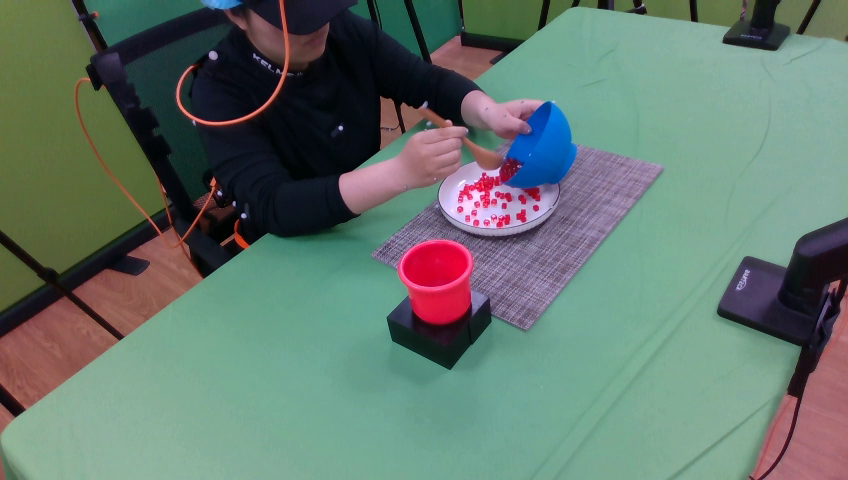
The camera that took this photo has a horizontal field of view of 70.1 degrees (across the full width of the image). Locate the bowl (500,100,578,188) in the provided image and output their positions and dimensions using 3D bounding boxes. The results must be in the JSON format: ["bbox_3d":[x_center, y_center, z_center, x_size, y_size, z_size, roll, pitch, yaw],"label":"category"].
[{"bbox_3d":[0.195,-0.140,0.978,0.077,0.151,0.151,28,43,-10],"label":"bowl"}]

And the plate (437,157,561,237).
[{"bbox_3d":[0.127,-0.069,1.023,0.207,0.039,0.206,-5,40,5],"label":"plate"}]

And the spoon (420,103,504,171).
[{"bbox_3d":[0.058,-0.155,0.918,0.041,0.195,0.021,-39,42,24],"label":"spoon"}]
